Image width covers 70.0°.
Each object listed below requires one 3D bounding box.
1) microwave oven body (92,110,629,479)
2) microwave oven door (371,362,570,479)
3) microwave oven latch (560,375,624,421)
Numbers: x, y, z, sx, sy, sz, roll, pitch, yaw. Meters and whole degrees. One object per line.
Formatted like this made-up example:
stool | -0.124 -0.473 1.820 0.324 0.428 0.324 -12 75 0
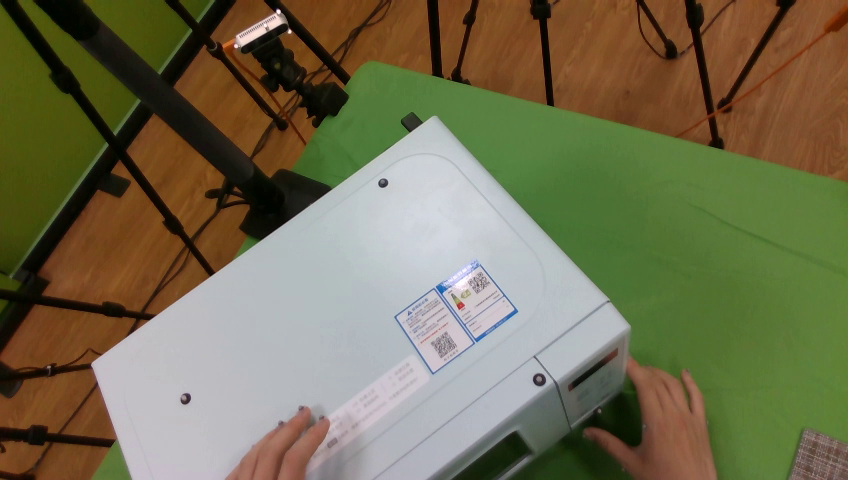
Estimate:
microwave oven body | -0.058 0.134 0.666 0.441 0.263 0.322 -37 61 -2
microwave oven door | -0.015 0.257 0.588 0.356 0.246 0.039 -37 60 -3
microwave oven latch | 0.189 0.171 0.687 0.079 0.030 0.030 -35 61 -2
